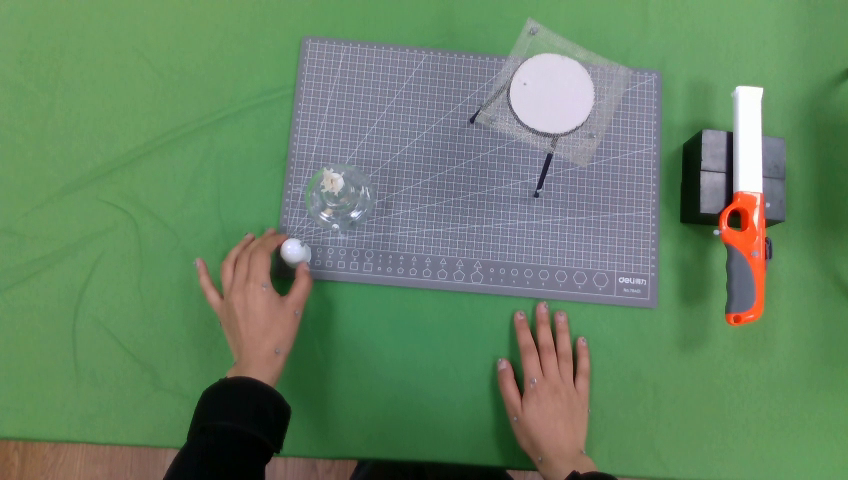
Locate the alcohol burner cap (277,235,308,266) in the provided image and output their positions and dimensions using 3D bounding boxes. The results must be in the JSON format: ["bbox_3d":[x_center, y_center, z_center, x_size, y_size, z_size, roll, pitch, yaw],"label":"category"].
[{"bbox_3d":[-0.150,0.010,0.682,0.034,0.048,0.033,1,78,-5],"label":"alcohol burner cap"}]

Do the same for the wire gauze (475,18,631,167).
[{"bbox_3d":[0.132,-0.149,0.609,0.121,0.011,0.125,27,79,2],"label":"wire gauze"}]

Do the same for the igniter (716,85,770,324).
[{"bbox_3d":[0.358,-0.042,0.680,0.057,0.025,0.275,5,79,4],"label":"igniter"}]

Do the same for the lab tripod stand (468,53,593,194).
[{"bbox_3d":[0.127,-0.140,0.676,0.148,0.132,0.147,1,78,-3],"label":"lab tripod stand"}]

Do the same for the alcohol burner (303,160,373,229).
[{"bbox_3d":[-0.095,-0.053,0.660,0.078,0.119,0.077,0,82,-3],"label":"alcohol burner"}]
